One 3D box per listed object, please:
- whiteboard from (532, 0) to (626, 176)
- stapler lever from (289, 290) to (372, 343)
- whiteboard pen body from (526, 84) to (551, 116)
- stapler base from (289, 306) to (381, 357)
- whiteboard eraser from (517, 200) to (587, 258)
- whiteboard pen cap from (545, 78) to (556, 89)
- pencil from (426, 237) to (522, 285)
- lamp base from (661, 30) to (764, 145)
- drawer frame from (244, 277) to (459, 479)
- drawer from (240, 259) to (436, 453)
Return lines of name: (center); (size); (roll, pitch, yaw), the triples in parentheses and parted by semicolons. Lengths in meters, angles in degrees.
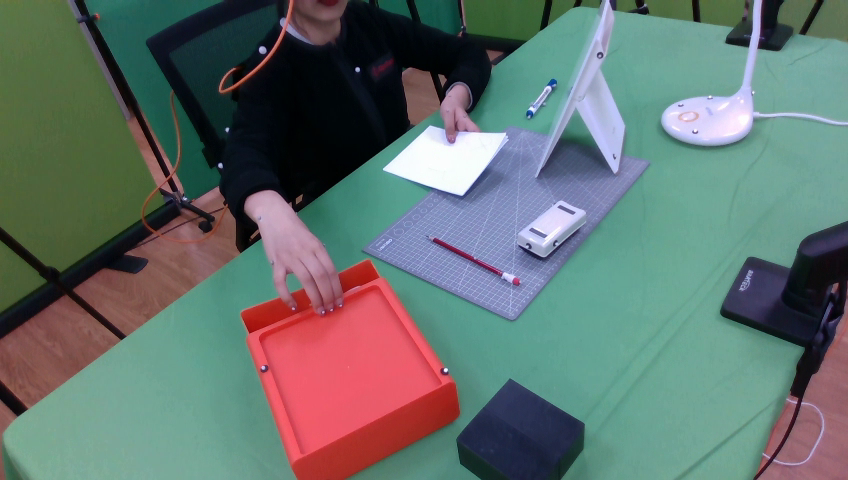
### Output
whiteboard: (0.321, -0.258, 1.050); (0.144, 0.306, 0.217); (21, 45, 5)
stapler lever: (-0.129, 0.104, 0.832); (0.118, 0.040, 0.026); (-19, 39, -15)
whiteboard pen body: (0.251, -0.305, 1.298); (0.017, 0.017, 0.141); (15, 45, 26)
stapler base: (-0.125, 0.121, 0.847); (0.131, 0.024, 0.041); (-21, 40, -14)
whiteboard eraser: (0.201, -0.016, 0.943); (0.113, 0.042, 0.055); (-37, 46, -29)
whiteboard pen cap: (0.280, -0.344, 1.335); (0.018, 0.018, 0.033); (15, 45, 26)
pencil: (0.072, 0.028, 0.941); (0.192, 0.012, 0.012); (26, 52, 37)
lamp base: (0.535, -0.287, 1.096); (0.179, 0.181, 0.159); (-10, 40, -4)
drawer frame: (-0.093, 0.167, 0.755); (0.202, 0.083, 0.211); (-23, 43, -17)
drawer: (-0.116, 0.142, 0.793); (0.195, 0.073, 0.210); (-22, 43, -16)
